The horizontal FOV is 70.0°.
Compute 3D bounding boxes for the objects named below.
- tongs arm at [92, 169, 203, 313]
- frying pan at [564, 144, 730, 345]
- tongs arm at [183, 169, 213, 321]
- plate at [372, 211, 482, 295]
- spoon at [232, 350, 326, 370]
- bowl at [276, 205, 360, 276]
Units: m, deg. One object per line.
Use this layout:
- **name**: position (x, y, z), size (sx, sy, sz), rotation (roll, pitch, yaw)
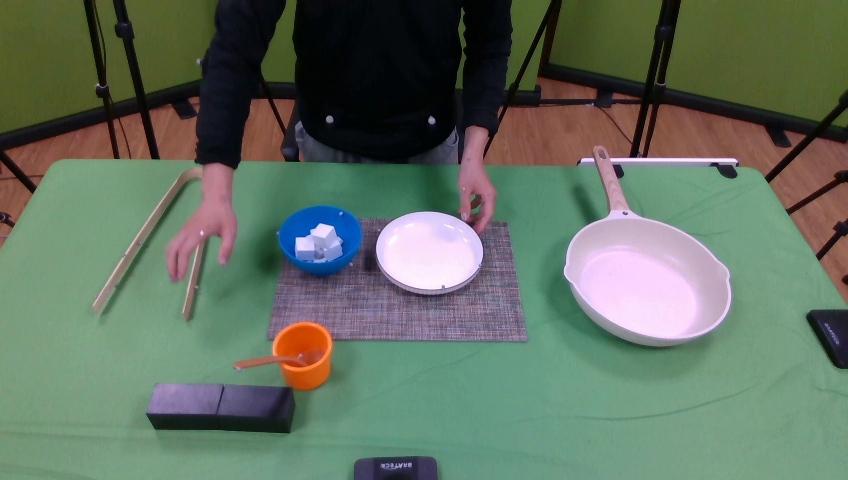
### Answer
- **tongs arm**: position (-0.517, -0.012, 1.160), size (0.051, 0.026, 0.382), rotation (7, 45, 1)
- **frying pan**: position (0.396, -0.008, 1.179), size (0.307, 0.103, 0.484), rotation (0, 55, -5)
- **tongs arm**: position (-0.436, -0.005, 1.166), size (0.028, 0.028, 0.385), rotation (-5, 46, -6)
- **plate**: position (0.005, 0.028, 1.155), size (0.208, 0.039, 0.206), rotation (3, 46, -2)
- **spoon**: position (-0.216, 0.182, 0.920), size (0.041, 0.194, 0.021), rotation (43, 101, 27)
- **bowl**: position (-0.193, 0.013, 1.125), size (0.151, 0.077, 0.150), rotation (2, 47, -2)
